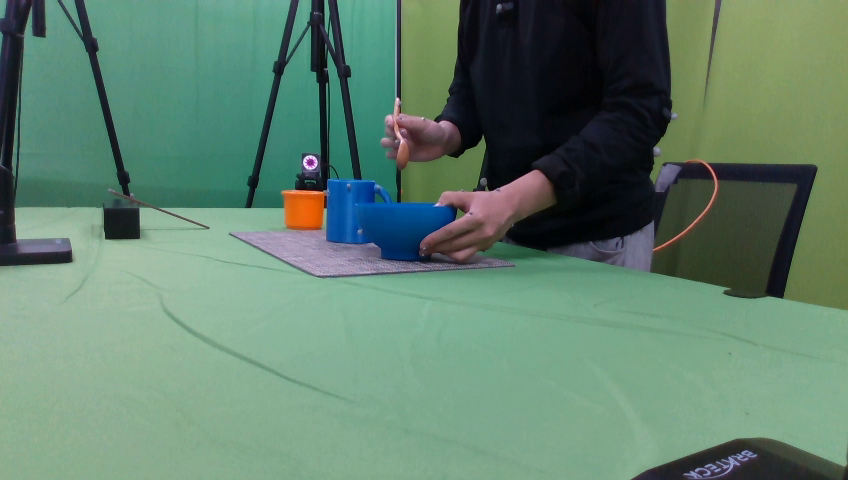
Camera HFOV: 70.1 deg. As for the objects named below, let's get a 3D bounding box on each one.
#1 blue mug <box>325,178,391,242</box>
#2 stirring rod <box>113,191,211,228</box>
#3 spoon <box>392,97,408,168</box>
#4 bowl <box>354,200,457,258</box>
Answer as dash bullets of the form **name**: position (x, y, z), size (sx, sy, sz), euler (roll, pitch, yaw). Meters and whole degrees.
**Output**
- **blue mug**: position (-0.111, -0.052, 1.034), size (0.116, 0.106, 0.082), euler (3, 7, 7)
- **stirring rod**: position (-0.484, -0.055, 1.122), size (0.177, 0.006, 0.014), euler (22, -6, -22)
- **spoon**: position (-0.043, -0.182, 0.981), size (0.021, 0.042, 0.193), euler (-12, 44, 2)
- **bowl**: position (-0.027, -0.016, 0.878), size (0.151, 0.077, 0.151), euler (0, 6, 0)
